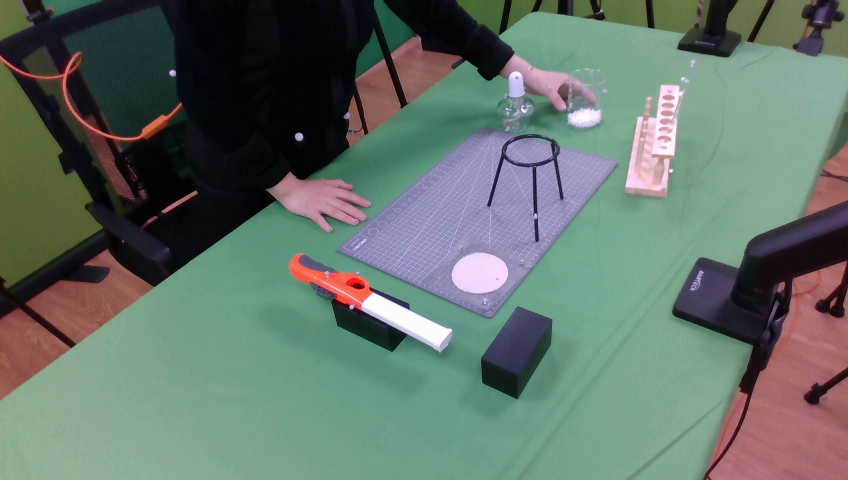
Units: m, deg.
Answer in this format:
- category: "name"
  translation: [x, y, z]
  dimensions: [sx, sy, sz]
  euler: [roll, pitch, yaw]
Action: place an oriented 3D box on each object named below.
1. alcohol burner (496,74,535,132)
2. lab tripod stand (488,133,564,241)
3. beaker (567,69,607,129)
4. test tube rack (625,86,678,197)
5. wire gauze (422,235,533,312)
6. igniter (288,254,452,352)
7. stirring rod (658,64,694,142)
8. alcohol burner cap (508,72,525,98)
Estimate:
- category: "alcohol burner"
  translation: [0.183, -0.278, 1.210]
  dimensions: [0.078, 0.119, 0.077]
  euler: [-4, 42, 4]
- category: "lab tripod stand"
  translation: [0.168, -0.092, 0.972]
  dimensions: [0.148, 0.132, 0.147]
  euler: [-5, 41, 5]
- category: "beaker"
  translation: [0.322, -0.280, 1.202]
  dimensions: [0.073, 0.101, 0.084]
  euler: [11, 43, 20]
- category: "test tube rack"
  translation: [0.412, -0.184, 1.088]
  dimensions: [0.066, 0.085, 0.242]
  euler: [9, 43, 18]
- category: "wire gauze"
  translation: [0.081, 0.049, 0.914]
  dimensions: [0.120, 0.011, 0.125]
  euler: [26, 52, 32]
- category: "igniter"
  translation: [-0.083, 0.079, 0.818]
  dimensions: [0.274, 0.025, 0.057]
  euler: [23, 46, 27]
- category: "stirring rod"
  translation: [0.409, -0.213, 1.000]
  dimensions: [0.006, 0.176, 0.014]
  euler: [36, 57, 25]
- category: "alcohol burner cap"
  translation: [0.181, -0.306, 1.186]
  dimensions: [0.034, 0.048, 0.033]
  euler: [-7, 39, 6]
